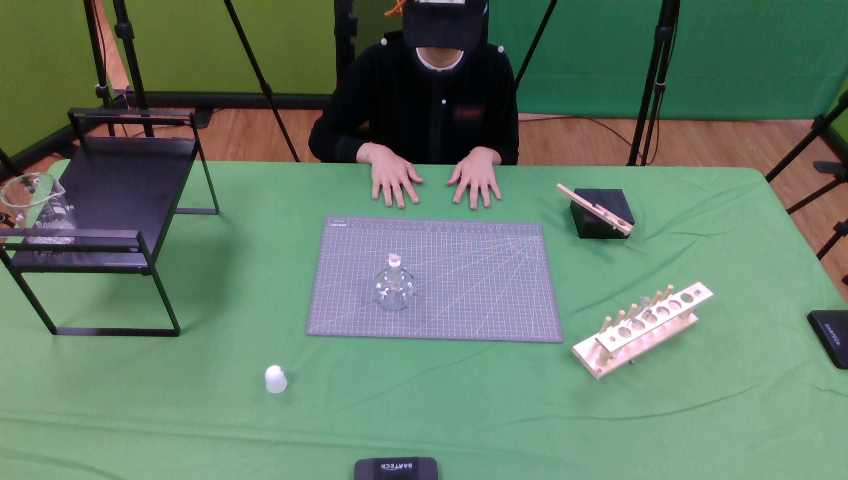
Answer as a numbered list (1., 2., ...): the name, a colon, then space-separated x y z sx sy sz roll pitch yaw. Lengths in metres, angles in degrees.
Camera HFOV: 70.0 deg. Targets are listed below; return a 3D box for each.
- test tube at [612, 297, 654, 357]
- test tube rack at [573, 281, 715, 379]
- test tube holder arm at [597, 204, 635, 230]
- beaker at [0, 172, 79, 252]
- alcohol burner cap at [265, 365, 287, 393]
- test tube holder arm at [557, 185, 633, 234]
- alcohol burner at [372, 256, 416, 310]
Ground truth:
1. test tube: 0.329 0.142 0.964 0.017 0.151 0.017 5 46 -5
2. test tube rack: 0.378 0.140 1.038 0.242 0.085 0.066 -22 51 -23
3. test tube holder arm: 0.376 -0.044 1.195 0.010 0.015 0.087 -39 58 -24
4. beaker: -0.557 -0.038 0.889 0.084 0.101 0.073 -3 47 -8
5. alcohol burner cap: -0.236 0.216 0.956 0.034 0.048 0.033 3 46 -3
6. test tube holder arm: 0.340 -0.064 1.215 0.177 0.015 0.013 35 61 28
7. alcohol burner: -0.052 0.068 1.057 0.078 0.120 0.077 1 48 -1
